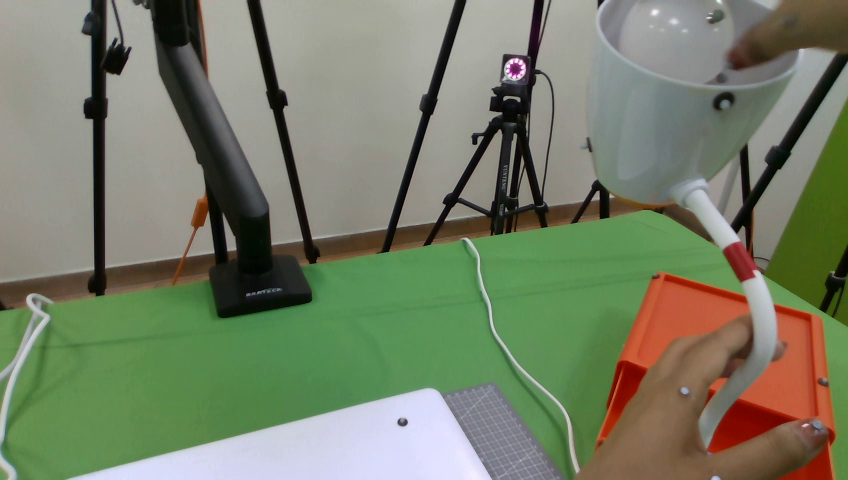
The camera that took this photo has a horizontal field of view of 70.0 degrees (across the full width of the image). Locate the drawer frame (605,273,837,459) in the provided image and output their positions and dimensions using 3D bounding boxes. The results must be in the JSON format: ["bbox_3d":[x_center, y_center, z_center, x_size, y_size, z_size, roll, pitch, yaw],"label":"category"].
[{"bbox_3d":[0.330,0.139,0.680,0.200,0.083,0.213,16,30,22],"label":"drawer frame"}]

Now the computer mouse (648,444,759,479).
[{"bbox_3d":[0.258,0.225,0.546,0.117,0.041,0.062,15,30,14],"label":"computer mouse"}]

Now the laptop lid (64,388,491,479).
[{"bbox_3d":[-0.104,0.235,0.484,0.358,0.013,0.239,-8,33,-21],"label":"laptop lid"}]

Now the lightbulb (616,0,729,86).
[{"bbox_3d":[0.142,-0.095,0.358,0.059,0.109,0.059,-5,49,6],"label":"lightbulb"}]

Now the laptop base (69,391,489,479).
[{"bbox_3d":[-0.106,0.244,0.492,0.356,0.023,0.233,-8,34,-22],"label":"laptop base"}]

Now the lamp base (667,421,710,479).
[{"bbox_3d":[0.172,0.223,0.394,0.161,0.181,0.177,1,26,-8],"label":"lamp base"}]

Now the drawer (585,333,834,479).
[{"bbox_3d":[0.279,0.186,0.592,0.193,0.074,0.211,15,29,21],"label":"drawer"}]

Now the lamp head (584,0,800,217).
[{"bbox_3d":[0.151,-0.075,0.374,0.112,0.124,0.111,-1,43,1],"label":"lamp head"}]
